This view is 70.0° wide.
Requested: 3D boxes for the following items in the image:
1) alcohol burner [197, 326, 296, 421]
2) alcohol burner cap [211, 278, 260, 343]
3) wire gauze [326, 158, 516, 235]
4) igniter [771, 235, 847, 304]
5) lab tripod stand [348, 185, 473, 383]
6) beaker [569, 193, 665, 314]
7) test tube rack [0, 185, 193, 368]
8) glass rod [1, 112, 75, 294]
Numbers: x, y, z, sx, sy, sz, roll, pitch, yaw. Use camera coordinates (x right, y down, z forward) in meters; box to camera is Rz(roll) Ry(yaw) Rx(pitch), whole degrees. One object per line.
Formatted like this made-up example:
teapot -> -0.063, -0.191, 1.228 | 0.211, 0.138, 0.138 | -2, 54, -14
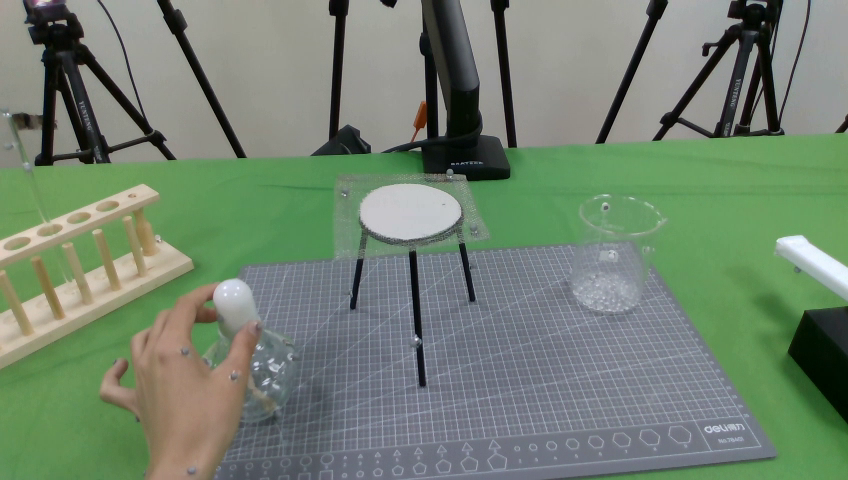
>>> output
alcohol burner -> -0.143, 0.086, 0.481 | 0.078, 0.120, 0.077 | 1, 34, 0
alcohol burner cap -> -0.144, 0.050, 0.456 | 0.034, 0.048, 0.033 | 2, 40, -1
wire gauze -> -0.006, -0.036, 0.493 | 0.125, 0.011, 0.120 | -10, 31, -25
igniter -> 0.391, 0.070, 0.492 | 0.057, 0.025, 0.273 | -8, 31, -11
lab tripod stand -> -0.009, 0.031, 0.543 | 0.148, 0.132, 0.147 | 1, 35, 0
beaker -> 0.184, 0.015, 0.591 | 0.084, 0.101, 0.073 | 1, 35, 2
test tube rack -> -0.359, 0.037, 0.589 | 0.066, 0.086, 0.242 | 25, 42, 33
glass rod -> -0.355, -0.025, 0.561 | 0.008, 0.201, 0.008 | 3, 36, -2
